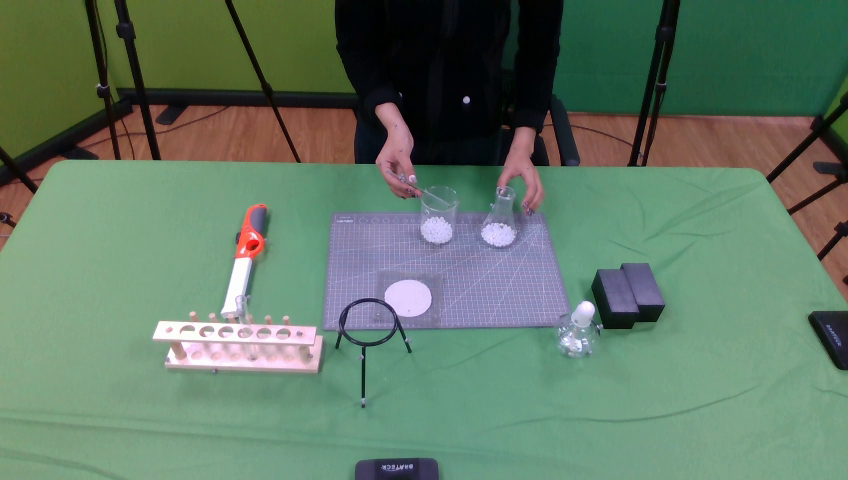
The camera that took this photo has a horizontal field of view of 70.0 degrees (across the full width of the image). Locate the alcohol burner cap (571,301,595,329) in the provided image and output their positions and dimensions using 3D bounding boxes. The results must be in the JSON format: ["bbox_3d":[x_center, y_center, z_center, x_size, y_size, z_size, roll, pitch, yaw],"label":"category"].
[{"bbox_3d":[0.262,0.120,0.991,0.034,0.048,0.033,2,52,-2],"label":"alcohol burner cap"}]

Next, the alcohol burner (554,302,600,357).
[{"bbox_3d":[0.260,0.143,1.018,0.078,0.119,0.077,3,45,-3],"label":"alcohol burner"}]

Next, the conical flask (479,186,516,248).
[{"bbox_3d":[0.150,-0.049,1.186,0.075,0.122,0.075,2,46,-2],"label":"conical flask"}]

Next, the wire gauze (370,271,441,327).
[{"bbox_3d":[-0.032,0.103,1.104,0.125,0.011,0.121,4,46,3],"label":"wire gauze"}]

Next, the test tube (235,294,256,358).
[{"bbox_3d":[-0.274,0.136,0.933,0.017,0.151,0.017,4,46,-4],"label":"test tube"}]

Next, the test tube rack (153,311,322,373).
[{"bbox_3d":[-0.293,0.160,0.978,0.242,0.085,0.066,3,46,-2],"label":"test tube rack"}]

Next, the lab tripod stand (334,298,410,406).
[{"bbox_3d":[-0.086,0.164,0.957,0.148,0.132,0.147,3,44,-2],"label":"lab tripod stand"}]

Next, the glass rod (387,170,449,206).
[{"bbox_3d":[-0.007,-0.094,1.122,0.008,0.201,0.008,-11,70,32],"label":"glass rod"}]

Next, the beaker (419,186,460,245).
[{"bbox_3d":[0.025,-0.047,1.190,0.074,0.101,0.083,-29,54,-28],"label":"beaker"}]

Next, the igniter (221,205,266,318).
[{"bbox_3d":[-0.337,0.030,1.140,0.057,0.025,0.274,-6,46,3],"label":"igniter"}]
